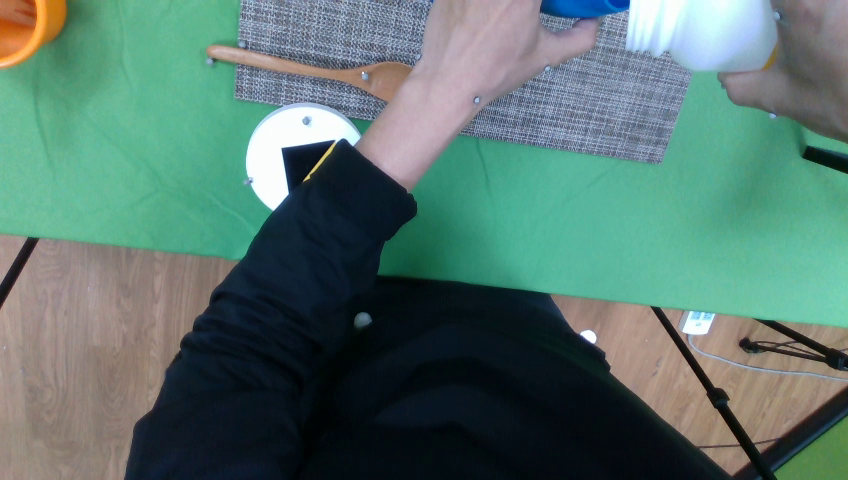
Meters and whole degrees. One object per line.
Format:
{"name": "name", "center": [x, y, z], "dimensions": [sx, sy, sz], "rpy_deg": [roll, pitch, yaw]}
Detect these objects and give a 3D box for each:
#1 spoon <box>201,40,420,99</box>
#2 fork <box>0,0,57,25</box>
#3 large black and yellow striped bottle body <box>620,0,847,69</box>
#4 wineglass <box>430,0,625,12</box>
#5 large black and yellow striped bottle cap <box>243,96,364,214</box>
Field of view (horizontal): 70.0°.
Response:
{"name": "spoon", "center": [-0.098, -0.158, 0.543], "dimensions": [0.194, 0.021, 0.042], "rpy_deg": [5, 135, -15]}
{"name": "fork", "center": [-0.356, -0.181, 0.405], "dimensions": [0.208, 0.018, 0.028], "rpy_deg": [-6, 132, -59]}
{"name": "large black and yellow striped bottle body", "center": [0.211, -0.165, 0.341], "dimensions": [0.183, 0.130, 0.131], "rpy_deg": [6, 116, 15]}
{"name": "wineglass", "center": [0.074, -0.210, 0.457], "dimensions": [0.074, 0.170, 0.074], "rpy_deg": [-17, 117, -37]}
{"name": "large black and yellow striped bottle cap", "center": [-0.114, -0.079, 0.583], "dimensions": [0.115, 0.018, 0.116], "rpy_deg": [-6, 119, -10]}
